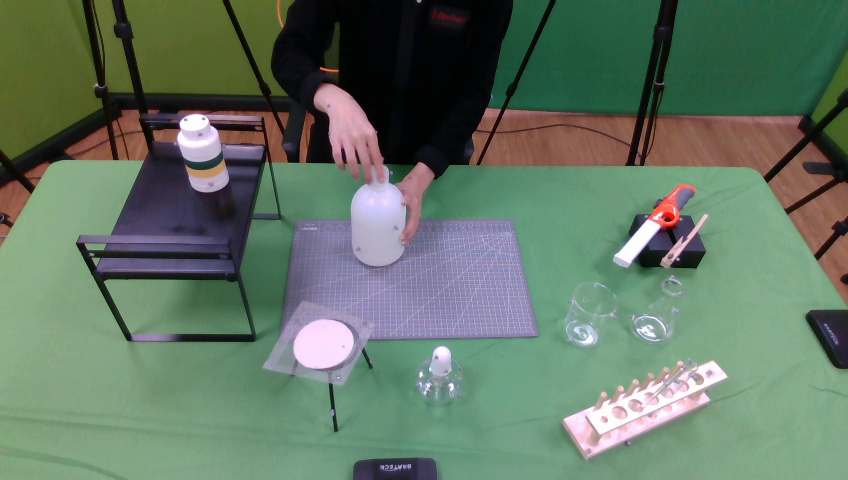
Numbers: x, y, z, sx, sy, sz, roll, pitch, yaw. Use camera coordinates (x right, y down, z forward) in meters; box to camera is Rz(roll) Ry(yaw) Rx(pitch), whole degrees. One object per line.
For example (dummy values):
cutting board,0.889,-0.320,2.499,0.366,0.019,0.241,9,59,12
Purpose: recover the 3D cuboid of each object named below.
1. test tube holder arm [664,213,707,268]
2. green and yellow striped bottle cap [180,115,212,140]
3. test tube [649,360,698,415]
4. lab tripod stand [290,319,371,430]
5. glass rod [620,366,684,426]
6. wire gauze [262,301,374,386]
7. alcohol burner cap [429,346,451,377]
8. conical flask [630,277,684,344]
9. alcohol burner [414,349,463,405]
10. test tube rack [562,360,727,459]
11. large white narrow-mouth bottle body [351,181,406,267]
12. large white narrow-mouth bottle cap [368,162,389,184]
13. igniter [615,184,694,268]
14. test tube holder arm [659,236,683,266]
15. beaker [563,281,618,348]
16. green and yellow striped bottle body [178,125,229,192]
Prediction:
test tube holder arm,0.507,-0.001,1.171,0.013,0.015,0.178,34,53,26
green and yellow striped bottle cap,-0.358,-0.177,0.951,0.045,0.020,0.045,2,45,-1
test tube,0.365,0.222,0.898,0.017,0.151,0.017,4,49,-5
lab tripod stand,-0.146,0.193,0.923,0.148,0.132,0.147,1,47,-1
glass rod,0.322,0.227,0.866,0.008,0.200,0.008,5,51,-7
wire gauze,-0.150,0.148,0.873,0.121,0.011,0.124,14,46,12
alcohol burner cap,0.026,0.180,0.912,0.034,0.048,0.033,1,47,-1
conical flask,0.409,0.117,1.045,0.075,0.122,0.075,2,46,-2
alcohol burner,0.023,0.205,0.939,0.078,0.120,0.077,1,47,-1
test tube rack,0.341,0.247,0.940,0.243,0.085,0.066,-16,49,-18
large white narrow-mouth bottle body,-0.084,-0.046,1.114,0.102,0.195,0.101,3,44,-2
large white narrow-mouth bottle cap,-0.078,-0.116,1.048,0.038,0.024,0.037,3,44,-2
igniter,0.459,-0.035,1.197,0.057,0.025,0.276,32,55,27
test tube holder arm,0.472,0.020,1.149,0.010,0.015,0.088,35,54,27
beaker,0.283,0.129,1.041,0.074,0.101,0.083,11,46,6
green and yellow striped bottle body,-0.361,-0.142,0.989,0.063,0.120,0.063,2,46,-2
